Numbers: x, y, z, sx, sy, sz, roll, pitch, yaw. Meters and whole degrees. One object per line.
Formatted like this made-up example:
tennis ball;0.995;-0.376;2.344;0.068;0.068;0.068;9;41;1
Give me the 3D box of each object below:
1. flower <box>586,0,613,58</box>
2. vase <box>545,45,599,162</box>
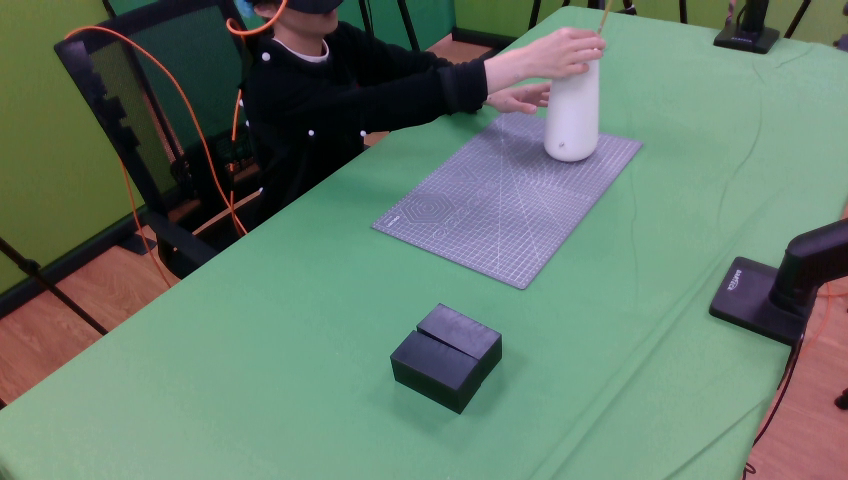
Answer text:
flower;0.269;-0.293;1.008;0.038;0.362;0.044;11;45;-4
vase;0.267;-0.238;1.074;0.098;0.201;0.097;-4;42;4
